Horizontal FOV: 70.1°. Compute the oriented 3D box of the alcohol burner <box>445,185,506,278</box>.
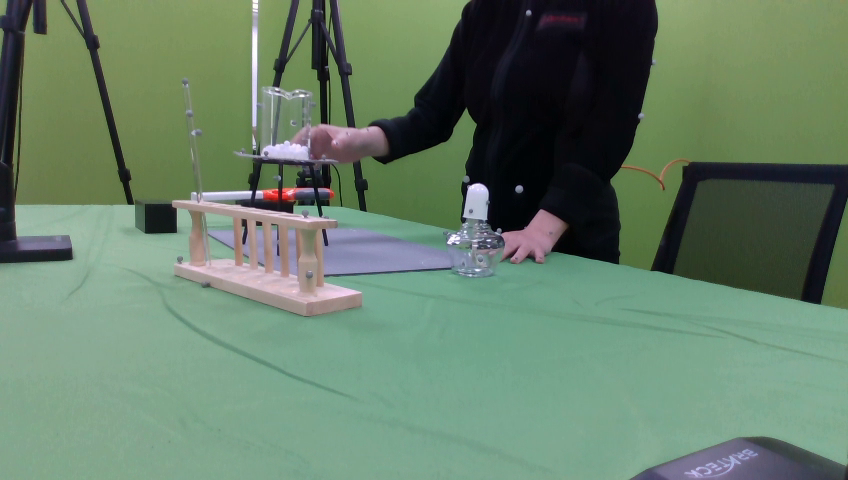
[{"bbox_3d":[0.066,-0.013,0.771,0.078,0.119,0.078,0,7,0],"label":"alcohol burner"}]

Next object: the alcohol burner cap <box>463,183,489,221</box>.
[{"bbox_3d":[0.067,-0.048,0.765,0.034,0.048,0.034,5,5,0],"label":"alcohol burner cap"}]

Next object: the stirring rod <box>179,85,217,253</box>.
[{"bbox_3d":[-0.236,-0.073,0.634,0.006,0.176,0.014,0,10,42],"label":"stirring rod"}]

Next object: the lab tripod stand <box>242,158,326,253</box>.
[{"bbox_3d":[-0.207,-0.054,0.895,0.148,0.131,0.148,3,5,0],"label":"lab tripod stand"}]

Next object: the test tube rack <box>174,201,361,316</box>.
[{"bbox_3d":[-0.169,0.010,0.622,0.241,0.085,0.067,9,9,41],"label":"test tube rack"}]

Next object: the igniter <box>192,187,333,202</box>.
[{"bbox_3d":[-0.316,-0.090,1.213,0.278,0.025,0.057,-5,13,-31],"label":"igniter"}]

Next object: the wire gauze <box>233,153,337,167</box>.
[{"bbox_3d":[-0.205,-0.118,0.887,0.122,0.011,0.124,2,4,-32],"label":"wire gauze"}]

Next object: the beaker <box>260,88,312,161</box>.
[{"bbox_3d":[-0.200,-0.166,0.876,0.074,0.100,0.083,1,7,-18],"label":"beaker"}]
